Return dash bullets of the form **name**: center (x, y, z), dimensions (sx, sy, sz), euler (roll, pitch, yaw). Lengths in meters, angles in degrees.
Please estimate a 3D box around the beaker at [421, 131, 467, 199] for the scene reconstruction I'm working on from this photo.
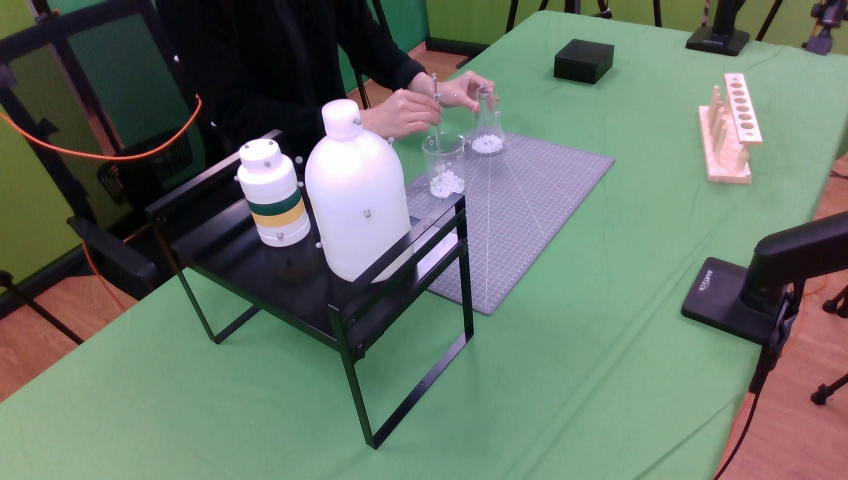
- **beaker**: center (0.040, -0.130, 1.060), dimensions (0.084, 0.100, 0.073), euler (-24, 43, -19)

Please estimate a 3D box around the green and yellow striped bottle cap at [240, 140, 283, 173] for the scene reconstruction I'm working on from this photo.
- **green and yellow striped bottle cap**: center (-0.183, -0.094, 0.679), dimensions (0.045, 0.020, 0.045), euler (-4, 38, 4)

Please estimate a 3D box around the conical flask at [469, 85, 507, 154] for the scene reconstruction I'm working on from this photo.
- **conical flask**: center (0.120, -0.231, 1.148), dimensions (0.075, 0.122, 0.075), euler (-4, 41, 4)

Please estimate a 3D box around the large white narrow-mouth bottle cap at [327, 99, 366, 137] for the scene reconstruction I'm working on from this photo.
- **large white narrow-mouth bottle cap**: center (-0.075, -0.118, 0.582), dimensions (0.038, 0.024, 0.037), euler (-3, 40, 3)

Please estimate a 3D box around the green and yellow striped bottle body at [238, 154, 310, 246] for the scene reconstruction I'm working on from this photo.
- **green and yellow striped bottle body**: center (-0.178, -0.056, 0.714), dimensions (0.063, 0.120, 0.063), euler (-4, 40, 4)

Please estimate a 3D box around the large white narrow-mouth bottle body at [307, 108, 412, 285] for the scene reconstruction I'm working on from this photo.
- **large white narrow-mouth bottle body**: center (-0.070, -0.051, 0.638), dimensions (0.102, 0.195, 0.101), euler (-3, 40, 3)

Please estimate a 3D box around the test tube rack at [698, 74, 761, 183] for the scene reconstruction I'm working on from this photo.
- **test tube rack**: center (0.547, -0.208, 1.095), dimensions (0.066, 0.085, 0.242), euler (5, 42, 15)

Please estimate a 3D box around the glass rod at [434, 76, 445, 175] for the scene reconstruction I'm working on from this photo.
- **glass rod**: center (0.028, -0.190, 1.032), dimensions (0.008, 0.200, 0.008), euler (-3, 44, 3)
